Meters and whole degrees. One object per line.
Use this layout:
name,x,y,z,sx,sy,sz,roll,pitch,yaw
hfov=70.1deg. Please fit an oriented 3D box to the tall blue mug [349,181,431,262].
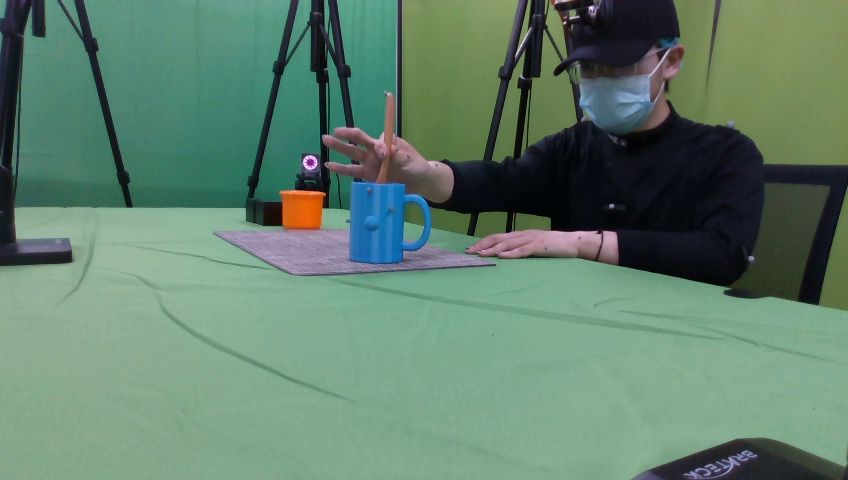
tall blue mug,-0.052,-0.028,0.849,0.108,0.108,0.077,-1,7,-22

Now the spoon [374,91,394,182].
spoon,-0.056,-0.113,0.841,0.042,0.193,0.021,9,-1,-32
